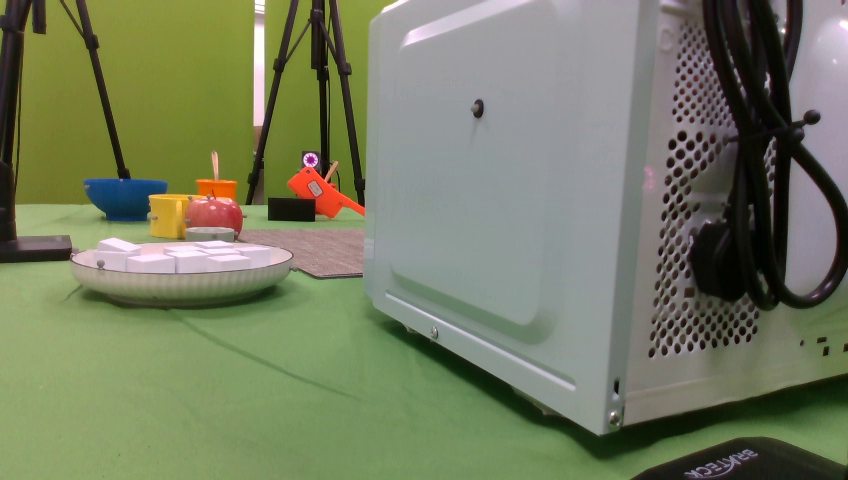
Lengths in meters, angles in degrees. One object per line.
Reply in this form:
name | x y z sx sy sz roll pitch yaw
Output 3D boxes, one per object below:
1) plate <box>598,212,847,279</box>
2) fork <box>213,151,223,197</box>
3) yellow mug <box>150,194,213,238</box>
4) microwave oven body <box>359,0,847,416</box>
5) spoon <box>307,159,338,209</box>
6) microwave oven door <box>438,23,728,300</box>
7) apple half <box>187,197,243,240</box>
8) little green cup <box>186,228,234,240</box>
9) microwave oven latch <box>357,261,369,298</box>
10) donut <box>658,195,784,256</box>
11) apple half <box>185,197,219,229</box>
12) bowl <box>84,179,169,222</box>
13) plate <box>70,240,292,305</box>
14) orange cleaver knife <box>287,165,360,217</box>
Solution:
plate | 0.255 0.002 0.519 0.209 0.038 0.209 2 7 0
fork | -0.493 -0.143 1.442 0.028 0.018 0.206 -3 52 -18
yellow mug | -0.401 -0.040 1.003 0.100 0.064 0.130 -1 9 -20
microwave oven body | 0.211 -0.047 0.474 0.444 0.260 0.324 -1 7 -28
spoon | -0.257 -0.147 1.567 0.041 0.022 0.193 1 51 20
microwave oven door | 0.181 -0.072 0.621 0.358 0.243 0.039 -2 8 -29
apple half | -0.305 -0.026 0.907 0.053 0.074 0.081 13 8 31
little green cup | -0.284 0.005 0.805 0.061 0.038 0.061 3 8 0
microwave oven latch | -0.019 0.033 0.530 0.079 0.029 0.030 0 7 -26
donut | 0.252 -0.012 0.517 0.099 0.048 0.099 5 7 0
apple half | -0.338 -0.031 0.927 0.032 0.081 0.081 12 12 31
bowl | -0.584 -0.078 1.194 0.151 0.077 0.151 3 8 0
plate | -0.242 0.031 0.618 0.208 0.039 0.207 2 8 0
orange cleaver knife | -0.211 -0.092 1.382 0.212 0.077 0.012 34 1 -15
